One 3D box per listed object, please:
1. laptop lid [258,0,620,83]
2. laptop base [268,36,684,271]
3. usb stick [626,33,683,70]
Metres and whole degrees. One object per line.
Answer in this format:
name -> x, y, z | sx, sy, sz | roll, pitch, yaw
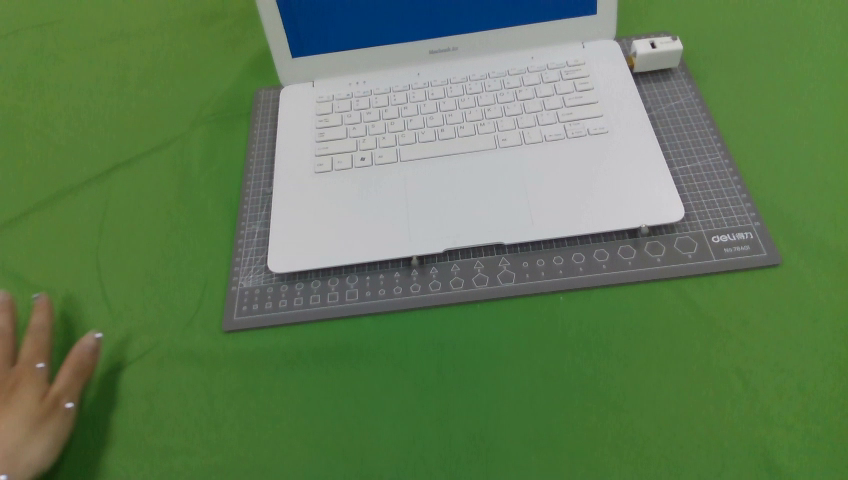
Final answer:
laptop lid -> 0.009, -0.277, 0.565 | 0.356, 0.244, 0.013 | -8, 37, 4
laptop base -> 0.033, -0.088, 0.571 | 0.354, 0.023, 0.233 | -7, 58, 3
usb stick -> 0.221, -0.185, 0.597 | 0.059, 0.027, 0.021 | -7, 56, 5
